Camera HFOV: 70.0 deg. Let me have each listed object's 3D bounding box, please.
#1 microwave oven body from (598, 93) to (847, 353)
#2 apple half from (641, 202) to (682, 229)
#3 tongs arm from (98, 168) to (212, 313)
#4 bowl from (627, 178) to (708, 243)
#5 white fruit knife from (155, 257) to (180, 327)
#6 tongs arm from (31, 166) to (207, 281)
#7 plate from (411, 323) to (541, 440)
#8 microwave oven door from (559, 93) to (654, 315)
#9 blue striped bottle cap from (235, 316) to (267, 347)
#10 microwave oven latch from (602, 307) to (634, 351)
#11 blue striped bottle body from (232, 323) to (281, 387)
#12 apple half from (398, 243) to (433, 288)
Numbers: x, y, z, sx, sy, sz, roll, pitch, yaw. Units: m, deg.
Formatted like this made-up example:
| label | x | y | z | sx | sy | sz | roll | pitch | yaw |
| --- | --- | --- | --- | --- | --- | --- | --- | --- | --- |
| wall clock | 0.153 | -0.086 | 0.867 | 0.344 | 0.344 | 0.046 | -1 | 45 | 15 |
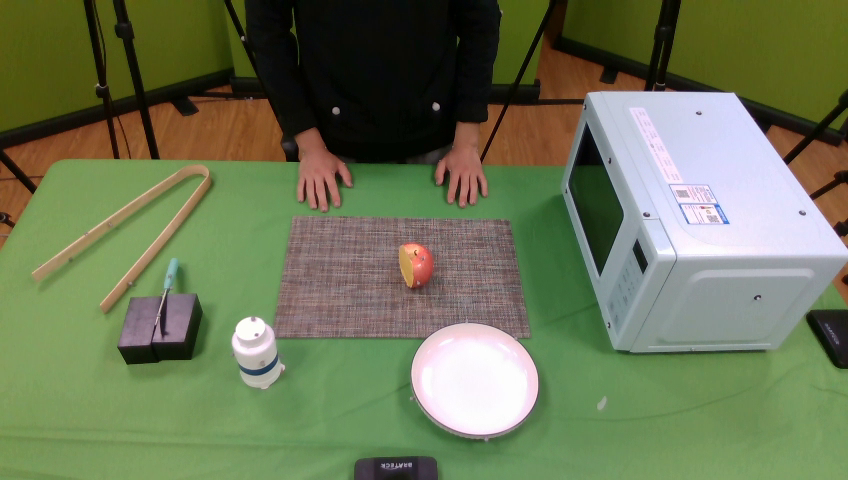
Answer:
| label | x | y | z | sx | sy | sz | roll | pitch | yaw |
| --- | --- | --- | --- | --- | --- | --- | --- | --- | --- |
| microwave oven body | 0.475 | -0.041 | 1.109 | 0.326 | 0.261 | 0.438 | -1 | 45 | -4 |
| apple half | 0.456 | -0.054 | 1.160 | 0.081 | 0.033 | 0.081 | -2 | 32 | 2 |
| tongs arm | -0.504 | -0.012 | 1.167 | 0.028 | 0.028 | 0.385 | 11 | 46 | 11 |
| bowl | 0.456 | -0.047 | 1.168 | 0.151 | 0.077 | 0.150 | 7 | 36 | -5 |
| white fruit knife | -0.440 | 0.085 | 1.037 | 0.016 | 0.027 | 0.206 | 10 | 26 | -19 |
| tongs arm | -0.578 | -0.040 | 1.184 | 0.050 | 0.026 | 0.384 | 23 | 48 | 17 |
| plate | 0.082 | 0.228 | 0.976 | 0.208 | 0.039 | 0.206 | 2 | 45 | -2 |
| microwave oven door | 0.327 | -0.074 | 1.123 | 0.039 | 0.245 | 0.353 | -1 | 46 | -5 |
| blue striped bottle cap | -0.259 | 0.137 | 0.907 | 0.044 | 0.021 | 0.044 | 3 | 43 | -2 |
| microwave oven latch | 0.332 | 0.153 | 1.044 | 0.030 | 0.029 | 0.078 | -1 | 45 | -4 |
| blue striped bottle body | -0.262 | 0.172 | 0.944 | 0.063 | 0.121 | 0.062 | 2 | 46 | -2 |
| apple half | -0.012 | 0.046 | 1.115 | 0.053 | 0.075 | 0.080 | -11 | 43 | -20 |
